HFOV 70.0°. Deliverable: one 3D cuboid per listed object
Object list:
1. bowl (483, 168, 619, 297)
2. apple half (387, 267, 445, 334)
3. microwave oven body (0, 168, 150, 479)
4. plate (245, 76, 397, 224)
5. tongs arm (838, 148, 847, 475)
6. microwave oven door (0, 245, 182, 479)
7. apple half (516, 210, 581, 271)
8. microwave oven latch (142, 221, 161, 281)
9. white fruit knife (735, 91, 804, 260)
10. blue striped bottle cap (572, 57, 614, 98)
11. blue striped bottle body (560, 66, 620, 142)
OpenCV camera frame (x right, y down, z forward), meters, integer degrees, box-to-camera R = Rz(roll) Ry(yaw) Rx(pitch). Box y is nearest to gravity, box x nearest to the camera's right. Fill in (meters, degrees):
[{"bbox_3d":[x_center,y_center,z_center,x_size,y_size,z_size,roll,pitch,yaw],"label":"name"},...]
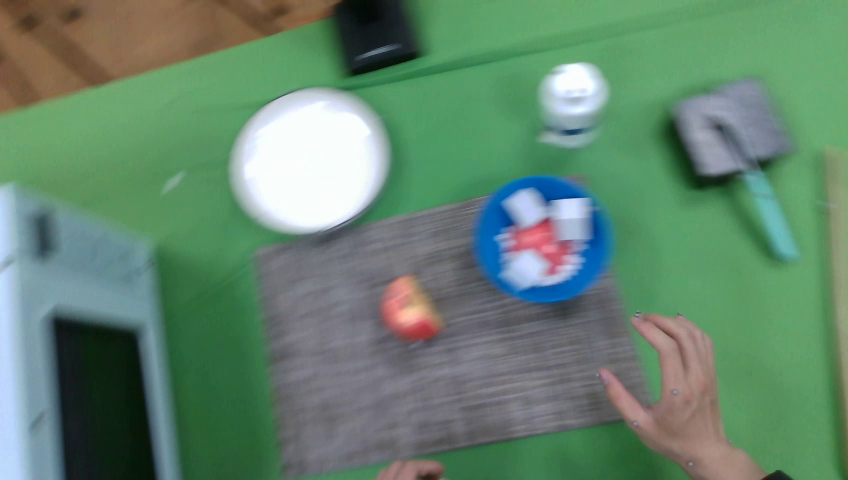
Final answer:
[{"bbox_3d":[0.147,-0.001,0.716,0.151,0.077,0.150,-2,76,9],"label":"bowl"},{"bbox_3d":[-0.015,0.079,0.727,0.053,0.075,0.080,-31,78,5],"label":"apple half"},{"bbox_3d":[-0.495,0.194,0.680,0.326,0.261,0.439,-13,76,5],"label":"microwave oven body"},{"bbox_3d":[-0.136,-0.118,0.815,0.207,0.039,0.206,-2,77,8],"label":"plate"},{"bbox_3d":[0.480,0.077,0.673,0.028,0.028,0.386,6,78,7],"label":"tongs arm"},{"bbox_3d":[-0.346,0.200,0.649,0.039,0.245,0.353,-14,75,6],"label":"microwave oven door"},{"bbox_3d":[0.147,-0.002,0.712,0.081,0.033,0.081,-2,77,10],"label":"apple half"},{"bbox_3d":[-0.369,0.017,0.802,0.030,0.029,0.078,-13,76,5],"label":"microwave oven latch"},{"bbox_3d":[0.392,-0.073,0.693,0.016,0.027,0.207,-21,91,22],"label":"white fruit knife"},{"bbox_3d":[0.190,-0.182,0.680,0.044,0.021,0.044,-2,79,8],"label":"blue striped bottle cap"},{"bbox_3d":[0.198,-0.169,0.729,0.063,0.121,0.063,-2,76,9],"label":"blue striped bottle body"}]
